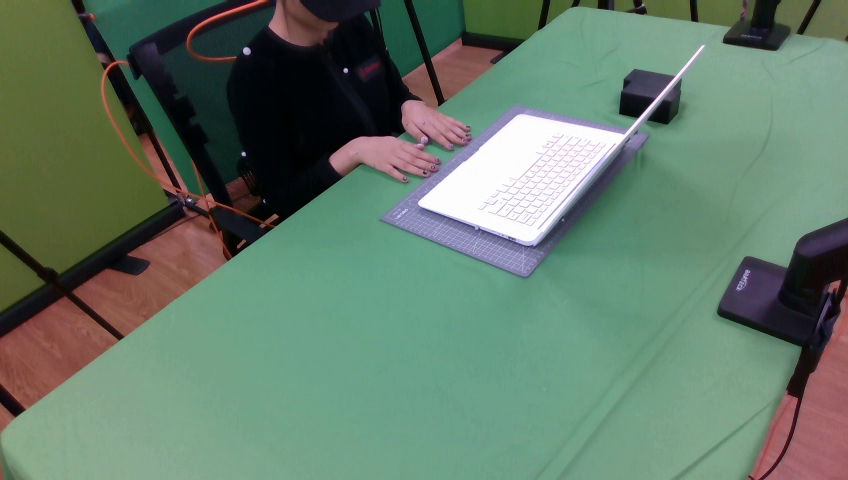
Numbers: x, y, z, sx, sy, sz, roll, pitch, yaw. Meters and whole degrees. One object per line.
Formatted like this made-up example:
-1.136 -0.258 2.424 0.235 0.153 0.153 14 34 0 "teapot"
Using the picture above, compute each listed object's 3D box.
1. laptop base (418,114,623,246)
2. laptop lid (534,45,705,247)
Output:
0.183 -0.122 1.094 0.233 0.023 0.355 19 47 34 "laptop base"
0.305 -0.146 0.938 0.013 0.241 0.357 40 54 9 "laptop lid"
